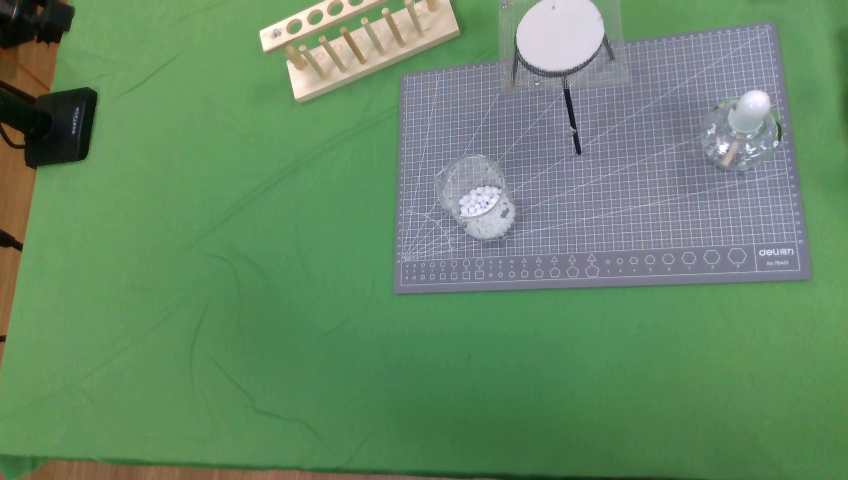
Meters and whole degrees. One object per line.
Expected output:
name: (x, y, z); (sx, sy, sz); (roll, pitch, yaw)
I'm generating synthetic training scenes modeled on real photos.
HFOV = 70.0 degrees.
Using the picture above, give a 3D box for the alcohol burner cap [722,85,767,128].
alcohol burner cap: (0.309, -0.131, 0.580); (0.034, 0.048, 0.033); (-3, 78, 12)

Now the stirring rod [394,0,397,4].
stirring rod: (-0.055, -0.347, 0.719); (0.006, 0.177, 0.014); (-18, 65, 5)

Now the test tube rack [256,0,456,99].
test tube rack: (-0.088, -0.277, 0.794); (0.242, 0.086, 0.066); (-20, 71, 11)

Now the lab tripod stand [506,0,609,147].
lab tripod stand: (0.151, -0.194, 0.672); (0.148, 0.132, 0.147); (-3, 76, 14)

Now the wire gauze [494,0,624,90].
wire gauze: (0.133, -0.211, 0.609); (0.125, 0.011, 0.121); (-4, 77, 16)

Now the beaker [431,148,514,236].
beaker: (0.058, -0.050, 0.682); (0.083, 0.101, 0.074); (17, 81, 21)

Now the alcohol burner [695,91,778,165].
alcohol burner: (0.319, -0.121, 0.613); (0.078, 0.120, 0.077); (-4, 75, 15)
